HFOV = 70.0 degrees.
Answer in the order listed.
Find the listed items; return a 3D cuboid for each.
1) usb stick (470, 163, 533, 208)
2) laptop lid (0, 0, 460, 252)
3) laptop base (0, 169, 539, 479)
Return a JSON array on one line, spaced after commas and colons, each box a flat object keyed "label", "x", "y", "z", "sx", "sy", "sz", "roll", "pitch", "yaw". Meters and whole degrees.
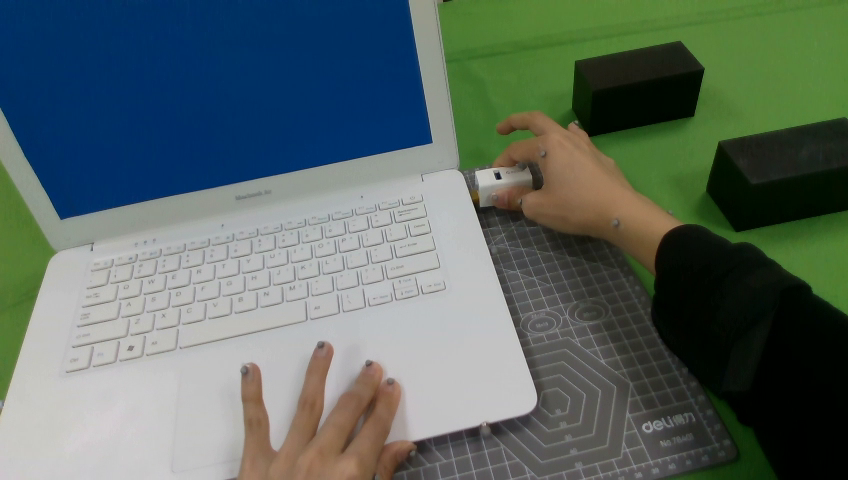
[{"label": "usb stick", "x": 0.058, "y": -0.044, "z": 0.497, "sx": 0.059, "sy": 0.027, "sz": 0.021, "roll": -12, "pitch": 45, "yaw": 0}, {"label": "laptop lid", "x": -0.158, "y": -0.120, "z": 0.461, "sx": 0.357, "sy": 0.244, "sz": 0.013, "roll": -13, "pitch": 32, "yaw": -2}, {"label": "laptop base", "x": -0.118, "y": 0.062, "z": 0.444, "sx": 0.354, "sy": 0.023, "sz": 0.233, "roll": -12, "pitch": 50, "yaw": -2}]
